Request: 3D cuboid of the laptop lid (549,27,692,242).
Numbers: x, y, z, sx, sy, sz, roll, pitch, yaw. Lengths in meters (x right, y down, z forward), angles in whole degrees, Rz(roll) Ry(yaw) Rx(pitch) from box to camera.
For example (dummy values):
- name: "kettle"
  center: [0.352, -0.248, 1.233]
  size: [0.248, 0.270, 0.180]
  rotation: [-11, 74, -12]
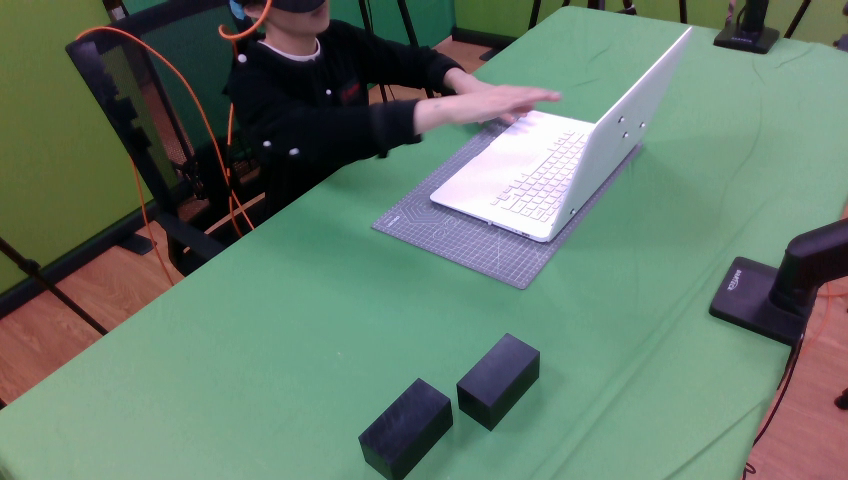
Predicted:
- name: "laptop lid"
  center: [0.311, -0.167, 0.948]
  size: [0.013, 0.242, 0.358]
  rotation: [33, 52, 20]

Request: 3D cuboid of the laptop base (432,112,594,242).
- name: "laptop base"
  center: [0.208, -0.129, 1.098]
  size: [0.233, 0.023, 0.355]
  rotation: [20, 47, 33]
